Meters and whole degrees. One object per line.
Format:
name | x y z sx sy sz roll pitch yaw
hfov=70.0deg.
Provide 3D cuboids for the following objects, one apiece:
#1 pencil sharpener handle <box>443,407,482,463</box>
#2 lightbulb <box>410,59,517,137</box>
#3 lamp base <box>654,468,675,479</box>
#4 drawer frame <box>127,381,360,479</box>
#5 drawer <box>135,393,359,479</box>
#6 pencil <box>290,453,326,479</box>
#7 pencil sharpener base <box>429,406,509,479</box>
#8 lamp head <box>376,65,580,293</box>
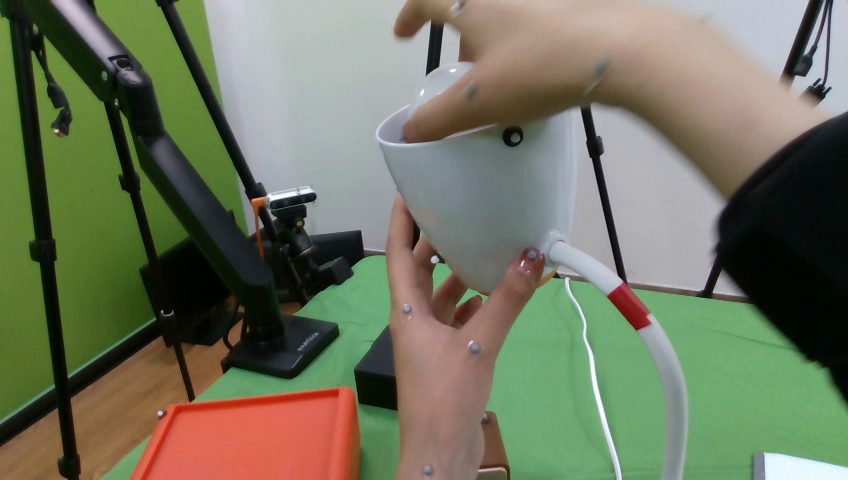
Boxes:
pencil sharpener handle | 0.035 0.179 0.578 0.036 0.068 0.030 0 24 -3
lightbulb | 0.032 -0.052 0.349 0.059 0.109 0.059 -21 35 16
lamp base | 0.152 0.242 0.356 0.161 0.181 0.178 -7 21 -5
drawer frame | -0.165 0.233 0.554 0.202 0.083 0.212 -6 24 -2
drawer | -0.163 0.235 0.552 0.194 0.074 0.210 -6 23 -1
pencil | -0.160 0.251 0.524 0.194 0.012 0.012 -36 38 -30
pencil sharpener base | 0.040 0.211 0.537 0.061 0.108 0.076 -5 24 -1
lamp head | 0.044 -0.029 0.357 0.112 0.124 0.111 -18 21 8
